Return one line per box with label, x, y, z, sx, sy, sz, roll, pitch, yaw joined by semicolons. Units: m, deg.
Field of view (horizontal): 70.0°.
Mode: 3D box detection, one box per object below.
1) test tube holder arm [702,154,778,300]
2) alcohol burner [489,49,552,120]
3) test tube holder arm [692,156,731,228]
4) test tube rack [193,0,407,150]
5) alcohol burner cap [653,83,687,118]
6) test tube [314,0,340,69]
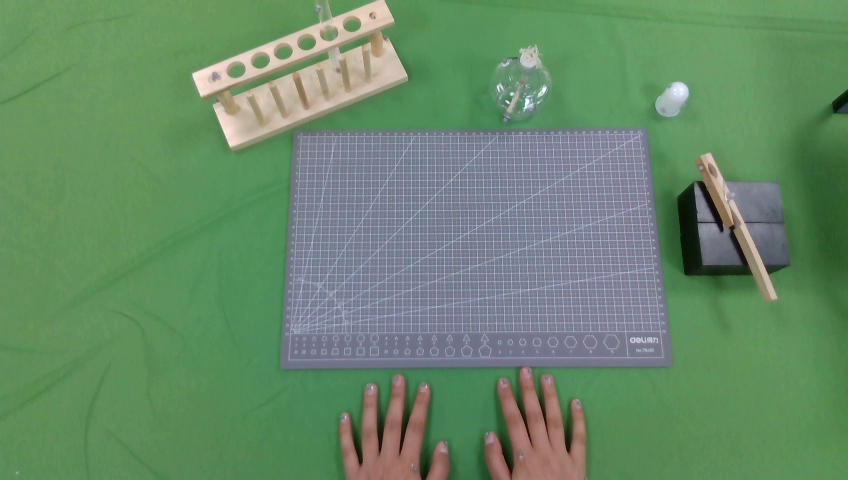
test tube holder arm;0.353;-0.016;0.685;0.013;0.015;0.177;-20;77;-8
alcohol burner;0.120;-0.196;0.734;0.078;0.119;0.077;0;75;0
test tube holder arm;0.332;-0.055;0.694;0.010;0.015;0.087;-19;77;-7
test tube rack;-0.145;-0.201;0.748;0.242;0.085;0.066;-24;75;-6
alcohol burner cap;0.314;-0.178;0.766;0.034;0.048;0.033;0;74;1
test tube;-0.113;-0.251;0.711;0.017;0.151;0.017;0;68;1
